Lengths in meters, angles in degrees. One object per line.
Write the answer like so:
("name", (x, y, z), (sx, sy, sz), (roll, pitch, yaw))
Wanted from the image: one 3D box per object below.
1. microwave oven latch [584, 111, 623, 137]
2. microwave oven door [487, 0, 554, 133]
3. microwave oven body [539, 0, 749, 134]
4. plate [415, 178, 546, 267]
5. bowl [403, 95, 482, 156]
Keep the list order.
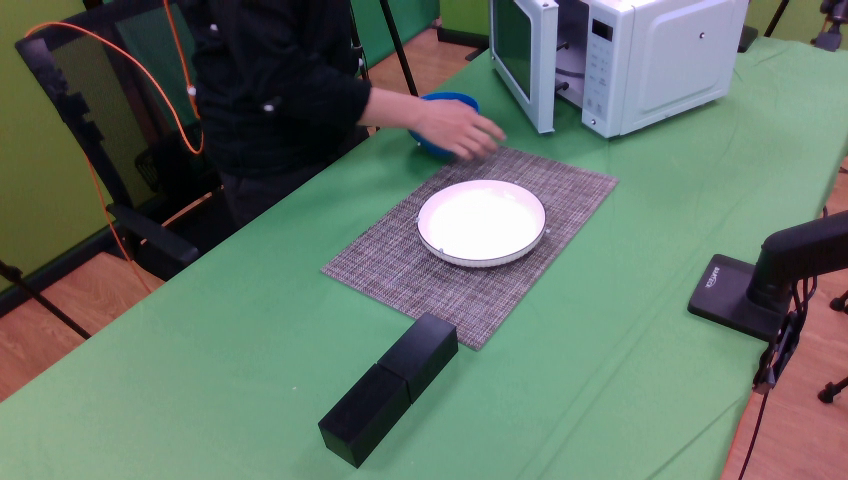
("microwave oven latch", (0.337, -0.222, 1.142), (0.030, 0.029, 0.078), (-21, 42, -14))
("microwave oven door", (0.190, -0.407, 1.222), (0.039, 0.245, 0.353), (-12, 41, -5))
("microwave oven body", (0.382, -0.444, 1.246), (0.327, 0.261, 0.437), (-22, 42, -16))
("plate", (0.091, -0.026, 0.970), (0.207, 0.039, 0.206), (-4, 41, 4))
("bowl", (0.039, -0.216, 1.179), (0.151, 0.077, 0.150), (-4, 37, 3))
